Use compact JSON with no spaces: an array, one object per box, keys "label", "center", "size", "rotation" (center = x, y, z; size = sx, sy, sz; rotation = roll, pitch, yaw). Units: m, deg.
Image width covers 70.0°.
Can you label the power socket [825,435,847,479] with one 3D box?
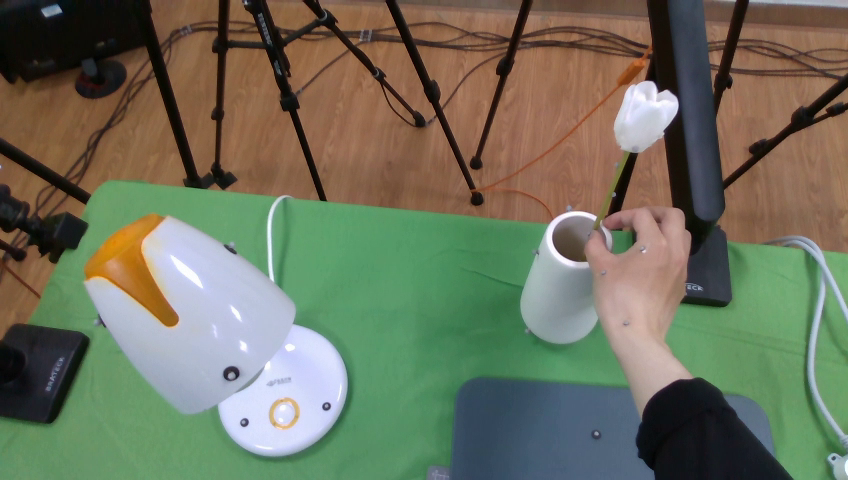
[{"label":"power socket","center":[0.534,0.301,0.633],"size":[0.072,0.033,0.224],"rotation":[-29,63,-12]}]

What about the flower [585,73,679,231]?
[{"label":"flower","center":[0.174,-0.009,0.639],"size":[0.044,0.364,0.038],"rotation":[13,46,2]}]

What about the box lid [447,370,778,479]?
[{"label":"box lid","center":[0.210,0.283,0.678],"size":[0.371,0.015,0.261],"rotation":[2,61,6]}]

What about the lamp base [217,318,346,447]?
[{"label":"lamp base","center":[-0.187,0.129,0.694],"size":[0.161,0.182,0.177],"rotation":[-21,59,-8]}]

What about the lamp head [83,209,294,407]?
[{"label":"lamp head","center":[-0.171,0.036,0.428],"size":[0.112,0.124,0.111],"rotation":[-31,23,15]}]

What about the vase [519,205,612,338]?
[{"label":"vase","center":[0.167,0.041,0.708],"size":[0.098,0.201,0.097],"rotation":[-1,60,2]}]
